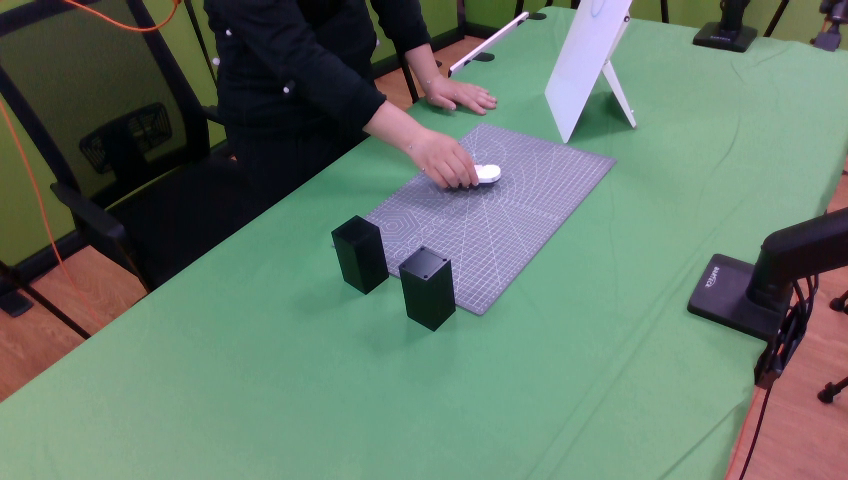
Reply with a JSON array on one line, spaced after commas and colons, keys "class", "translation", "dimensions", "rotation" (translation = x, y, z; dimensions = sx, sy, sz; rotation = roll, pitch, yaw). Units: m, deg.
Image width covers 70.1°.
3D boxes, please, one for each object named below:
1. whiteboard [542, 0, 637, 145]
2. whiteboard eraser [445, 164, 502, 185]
[{"class": "whiteboard", "translation": [0.366, -0.351, 1.160], "dimensions": [0.144, 0.305, 0.216], "rotation": [10, 39, -10]}, {"class": "whiteboard eraser", "translation": [0.087, -0.117, 1.072], "dimensions": [0.101, 0.019, 0.041], "rotation": [0, 43, 15]}]
